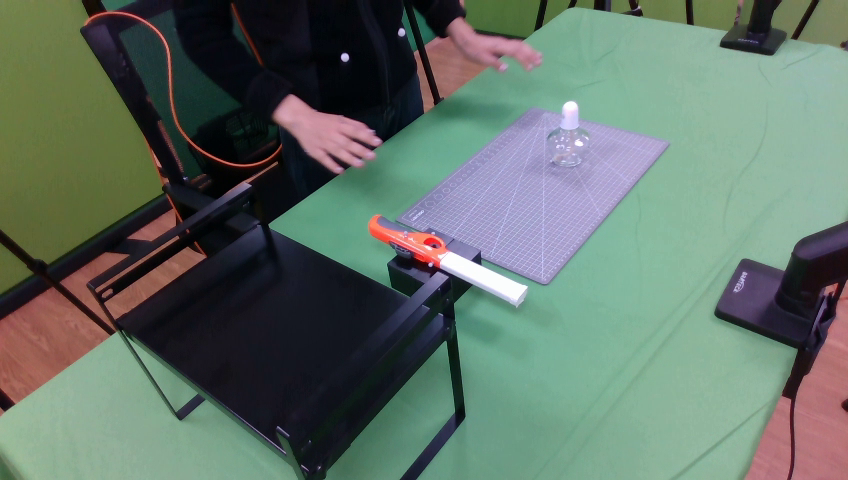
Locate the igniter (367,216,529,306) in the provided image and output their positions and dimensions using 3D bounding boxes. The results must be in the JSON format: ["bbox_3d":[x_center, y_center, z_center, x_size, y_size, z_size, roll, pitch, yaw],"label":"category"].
[{"bbox_3d":[0.024,0.024,0.868,0.274,0.025,0.057,25,49,28],"label":"igniter"}]

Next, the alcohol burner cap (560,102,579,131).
[{"bbox_3d":[0.256,-0.219,1.064,0.034,0.048,0.033,-5,34,4],"label":"alcohol burner cap"}]

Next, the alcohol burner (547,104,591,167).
[{"bbox_3d":[0.261,-0.192,1.087,0.078,0.119,0.077,-5,42,5],"label":"alcohol burner"}]
